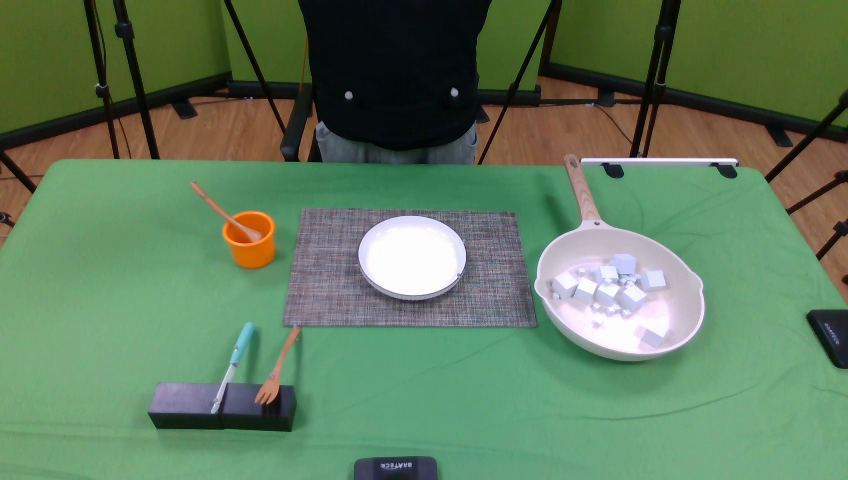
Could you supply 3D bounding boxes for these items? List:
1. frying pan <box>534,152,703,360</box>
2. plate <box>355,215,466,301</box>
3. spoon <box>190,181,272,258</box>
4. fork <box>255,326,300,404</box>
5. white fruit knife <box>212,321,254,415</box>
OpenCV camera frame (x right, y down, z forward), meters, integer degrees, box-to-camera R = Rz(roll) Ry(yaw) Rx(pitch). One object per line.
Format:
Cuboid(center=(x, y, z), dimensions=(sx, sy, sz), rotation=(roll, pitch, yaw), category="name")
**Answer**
Cuboid(center=(0.335, 0.013, 1.154), dimensions=(0.307, 0.103, 0.484), rotation=(-1, 55, -7), category="frying pan")
Cuboid(center=(-0.025, 0.038, 1.144), dimensions=(0.208, 0.039, 0.206), rotation=(3, 46, -2), category="plate")
Cuboid(center=(-0.353, -0.037, 1.111), dimensions=(0.194, 0.021, 0.041), rotation=(42, 39, -20), category="spoon")
Cuboid(center=(-0.226, 0.192, 0.955), dimensions=(0.028, 0.019, 0.206), rotation=(-1, 27, 4), category="fork")
Cuboid(center=(-0.298, 0.193, 0.947), dimensions=(0.016, 0.027, 0.206), rotation=(2, 31, -1), category="white fruit knife")
